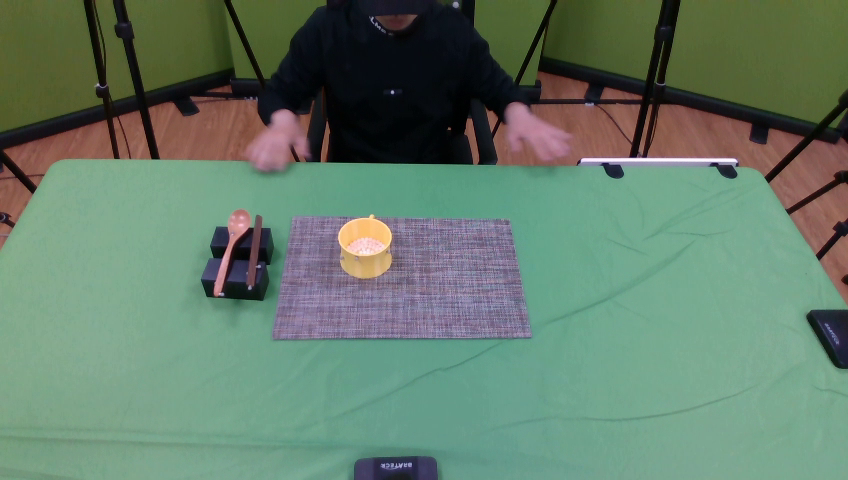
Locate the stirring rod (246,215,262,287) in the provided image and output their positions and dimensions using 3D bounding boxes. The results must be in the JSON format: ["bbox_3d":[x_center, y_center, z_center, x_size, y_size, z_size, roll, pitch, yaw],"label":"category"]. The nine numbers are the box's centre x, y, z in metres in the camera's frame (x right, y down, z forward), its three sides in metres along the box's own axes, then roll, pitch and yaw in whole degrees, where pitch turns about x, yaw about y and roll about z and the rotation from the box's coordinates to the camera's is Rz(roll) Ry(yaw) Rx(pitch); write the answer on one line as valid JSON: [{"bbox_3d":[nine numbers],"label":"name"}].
[{"bbox_3d":[-0.308,0.017,1.098,0.014,0.006,0.175,24,37,-28],"label":"stirring rod"}]

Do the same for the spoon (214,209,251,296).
[{"bbox_3d":[-0.349,0.019,1.087,0.041,0.022,0.192,6,47,-2],"label":"spoon"}]

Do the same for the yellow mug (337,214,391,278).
[{"bbox_3d":[-0.110,0.003,1.152,0.100,0.064,0.130,7,45,2],"label":"yellow mug"}]
